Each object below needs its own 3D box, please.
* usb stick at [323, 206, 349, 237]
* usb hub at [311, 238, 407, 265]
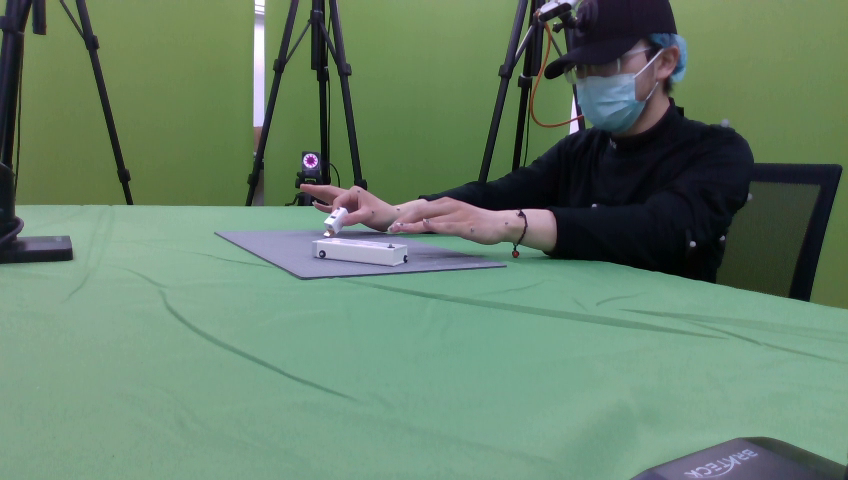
[{"bbox_3d":[-0.158,-0.031,1.063,0.021,0.027,0.059,16,55,30],"label":"usb stick"},{"bbox_3d":[-0.089,0.015,0.828,0.125,0.025,0.050,5,8,21],"label":"usb hub"}]
